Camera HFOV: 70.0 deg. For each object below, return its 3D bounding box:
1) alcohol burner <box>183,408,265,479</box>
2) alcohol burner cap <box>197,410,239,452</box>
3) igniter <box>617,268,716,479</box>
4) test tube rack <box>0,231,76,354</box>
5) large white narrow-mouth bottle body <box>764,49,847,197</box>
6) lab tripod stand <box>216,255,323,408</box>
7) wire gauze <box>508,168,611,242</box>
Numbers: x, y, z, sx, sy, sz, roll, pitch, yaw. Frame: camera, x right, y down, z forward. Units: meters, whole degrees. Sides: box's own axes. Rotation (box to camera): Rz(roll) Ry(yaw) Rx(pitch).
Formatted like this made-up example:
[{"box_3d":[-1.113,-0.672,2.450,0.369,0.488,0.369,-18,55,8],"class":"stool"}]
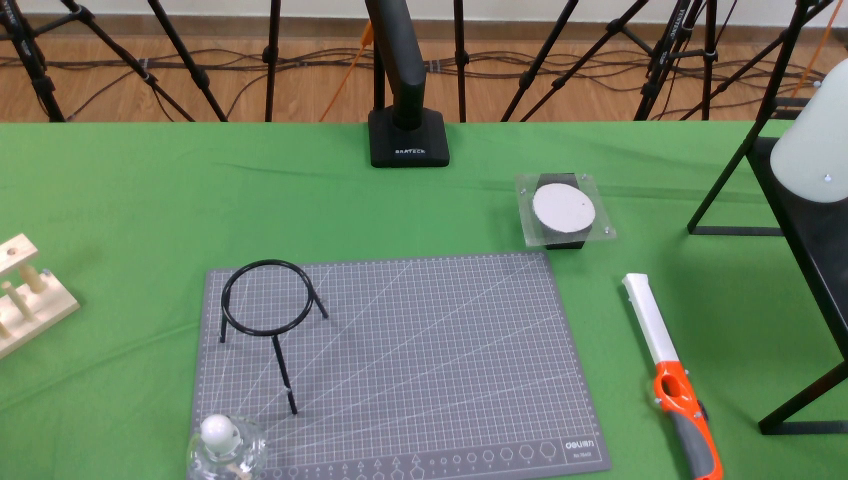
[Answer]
[{"box_3d":[-0.196,0.195,0.589,0.078,0.120,0.077,4,52,-5],"class":"alcohol burner"},{"box_3d":[-0.192,0.175,0.559,0.034,0.048,0.033,3,59,-4],"class":"alcohol burner cap"},{"box_3d":[0.290,0.152,0.735,0.057,0.025,0.273,4,53,-17],"class":"igniter"},{"box_3d":[-0.516,0.101,0.642,0.066,0.086,0.242,38,58,20],"class":"test tube rack"},{"box_3d":[0.454,-0.142,0.640,0.102,0.196,0.101,3,53,-4],"class":"large white narrow-mouth bottle body"},{"box_3d":[-0.164,0.092,0.656,0.148,0.132,0.147,4,54,-6],"class":"lab tripod stand"},{"box_3d":[0.181,-0.052,0.823,0.122,0.011,0.124,-2,55,-8],"class":"wire gauze"}]
